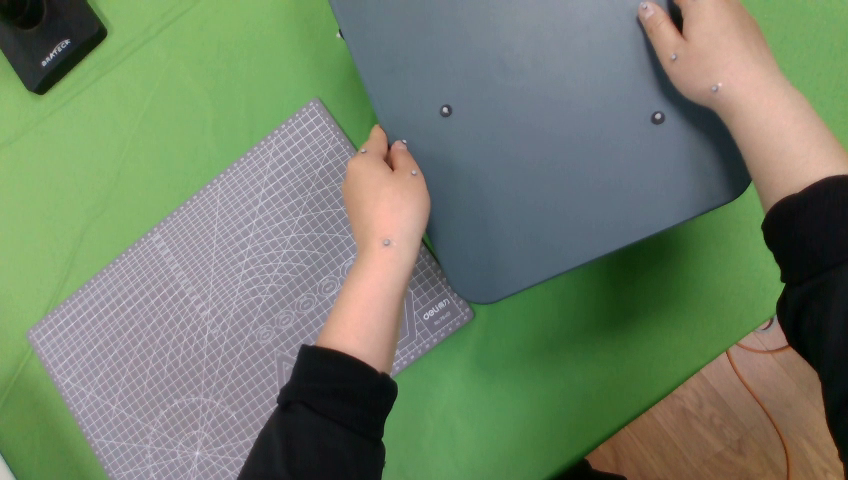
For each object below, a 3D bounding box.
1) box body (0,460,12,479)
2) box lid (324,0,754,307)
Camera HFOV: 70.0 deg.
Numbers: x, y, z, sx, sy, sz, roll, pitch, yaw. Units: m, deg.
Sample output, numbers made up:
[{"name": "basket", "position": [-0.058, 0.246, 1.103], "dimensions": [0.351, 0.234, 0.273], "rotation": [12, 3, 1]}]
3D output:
[{"name": "box body", "position": [-0.567, 0.369, 0.642], "dimensions": [0.254, 0.161, 0.362], "rotation": [-40, 80, 5]}, {"name": "box lid", "position": [0.077, -0.155, 0.516], "dimensions": [0.263, 0.015, 0.370], "rotation": [-25, 82, 11]}]
